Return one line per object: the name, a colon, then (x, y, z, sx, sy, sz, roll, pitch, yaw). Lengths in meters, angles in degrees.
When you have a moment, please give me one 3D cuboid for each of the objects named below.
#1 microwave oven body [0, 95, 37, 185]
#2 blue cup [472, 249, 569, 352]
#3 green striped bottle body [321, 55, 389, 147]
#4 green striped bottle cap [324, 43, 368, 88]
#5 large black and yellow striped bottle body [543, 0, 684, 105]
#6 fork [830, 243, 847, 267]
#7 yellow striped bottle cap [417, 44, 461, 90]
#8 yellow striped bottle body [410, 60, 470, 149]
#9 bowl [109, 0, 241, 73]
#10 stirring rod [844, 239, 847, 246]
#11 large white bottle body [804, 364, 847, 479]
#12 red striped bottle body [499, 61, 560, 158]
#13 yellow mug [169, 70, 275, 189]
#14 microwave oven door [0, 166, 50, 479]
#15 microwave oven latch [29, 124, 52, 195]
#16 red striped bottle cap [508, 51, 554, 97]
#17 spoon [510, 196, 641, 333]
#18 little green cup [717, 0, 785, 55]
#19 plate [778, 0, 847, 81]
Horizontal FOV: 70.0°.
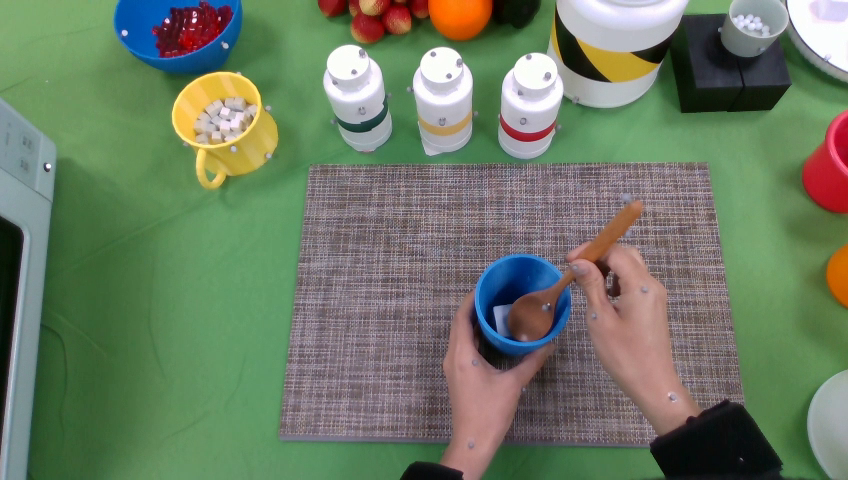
microwave oven body: (-0.571, 0.060, 0.533, 0.326, 0.262, 0.438, -9, 69, 0)
blue cup: (0.085, 0.066, 0.575, 0.092, 0.101, 0.092, 0, 68, 1)
green striped bottle body: (-0.075, -0.159, 0.666, 0.063, 0.120, 0.062, -1, 68, 3)
green striped bottle cap: (-0.080, -0.178, 0.617, 0.044, 0.020, 0.044, -1, 68, 3)
large black and yellow striped bottle body: (0.202, -0.247, 0.648, 0.131, 0.185, 0.130, -1, 69, 4)
fork: (0.470, 0.039, 0.539, 0.028, 0.019, 0.205, -34, 26, -14)
yellow striped bottle cap: (0.015, -0.174, 0.610, 0.044, 0.019, 0.044, -1, 70, 3)
yellow striped bottle body: (0.019, -0.155, 0.658, 0.063, 0.121, 0.062, -2, 68, 4)
bowl: (-0.289, -0.259, 0.740, 0.151, 0.077, 0.150, -1, 69, 3)
stirring rod: (0.442, 0.038, 0.547, 0.014, 0.006, 0.174, -6, 25, 0)
large white bottle body: (0.413, 0.146, 0.481, 0.130, 0.186, 0.129, -1, 68, 4)
red striped bottle body: (0.112, -0.145, 0.649, 0.063, 0.120, 0.062, -3, 66, 7)
yellow mug: (-0.233, -0.120, 0.689, 0.100, 0.064, 0.130, 10, 70, 6)
microwave oven door: (-0.421, 0.075, 0.513, 0.039, 0.245, 0.353, -9, 68, 1)
microwave oven latch: (-0.443, -0.090, 0.686, 0.030, 0.030, 0.078, -7, 69, 1)
red striped bottle cap: (0.106, -0.165, 0.600, 0.044, 0.018, 0.044, 0, 67, -1)
spoon: (0.119, 0.028, 0.505, 0.021, 0.194, 0.041, -27, 70, -35)
little green cup: (0.352, -0.235, 0.658, 0.061, 0.039, 0.061, -1, 67, 2)
plate: (0.521, -0.264, 0.713, 0.209, 0.038, 0.207, -1, 69, 3)
